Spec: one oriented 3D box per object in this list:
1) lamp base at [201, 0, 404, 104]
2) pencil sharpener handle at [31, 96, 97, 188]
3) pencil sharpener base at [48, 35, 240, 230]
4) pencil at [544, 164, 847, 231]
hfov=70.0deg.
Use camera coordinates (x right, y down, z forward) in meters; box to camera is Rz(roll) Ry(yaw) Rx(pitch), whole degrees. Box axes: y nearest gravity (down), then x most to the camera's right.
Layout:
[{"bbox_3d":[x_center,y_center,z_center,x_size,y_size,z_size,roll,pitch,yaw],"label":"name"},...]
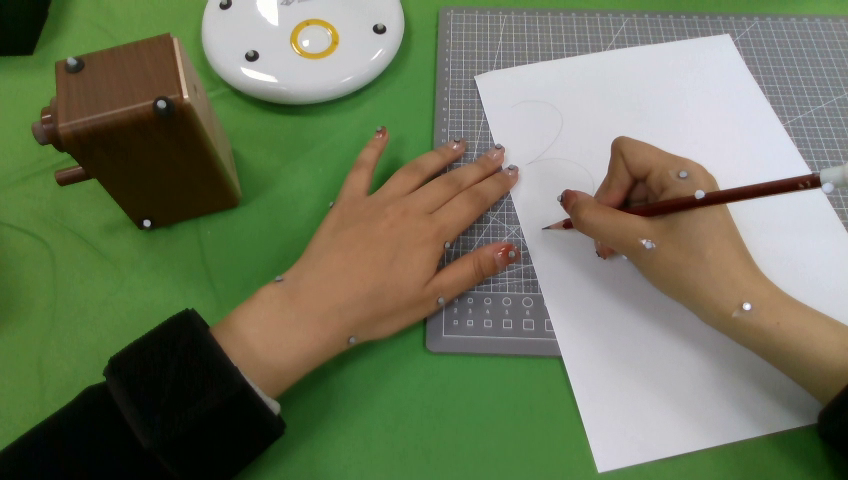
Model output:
[{"bbox_3d":[-0.104,-0.219,0.424,0.161,0.182,0.177,-26,62,-13],"label":"lamp base"},{"bbox_3d":[-0.219,-0.054,0.362,0.031,0.068,0.035,-17,65,-8],"label":"pencil sharpener handle"},{"bbox_3d":[-0.170,-0.062,0.380,0.077,0.108,0.061,-17,63,-8],"label":"pencil sharpener base"},{"bbox_3d":[0.141,-0.019,0.330,0.012,0.193,0.012,7,79,-39],"label":"pencil"}]
